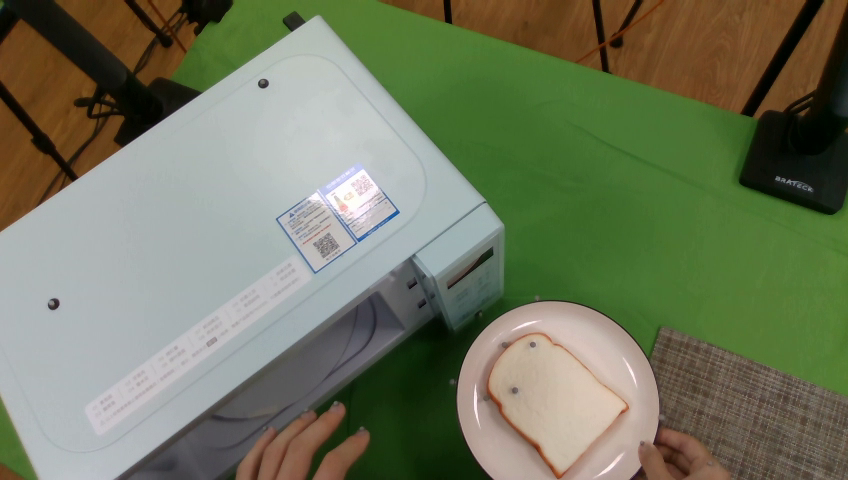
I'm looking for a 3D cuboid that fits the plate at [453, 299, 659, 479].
[{"bbox_3d":[0.135,0.167,0.638,0.207,0.039,0.206,-2,72,6],"label":"plate"}]

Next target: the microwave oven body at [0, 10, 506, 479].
[{"bbox_3d":[-0.179,0.035,0.660,0.441,0.262,0.323,-37,71,-6],"label":"microwave oven body"}]

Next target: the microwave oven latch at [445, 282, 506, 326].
[{"bbox_3d":[0.062,0.068,0.723,0.079,0.030,0.030,-35,71,-5],"label":"microwave oven latch"}]

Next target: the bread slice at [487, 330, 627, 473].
[{"bbox_3d":[0.131,0.162,0.641,0.105,0.019,0.131,-44,74,-10],"label":"bread slice"}]
